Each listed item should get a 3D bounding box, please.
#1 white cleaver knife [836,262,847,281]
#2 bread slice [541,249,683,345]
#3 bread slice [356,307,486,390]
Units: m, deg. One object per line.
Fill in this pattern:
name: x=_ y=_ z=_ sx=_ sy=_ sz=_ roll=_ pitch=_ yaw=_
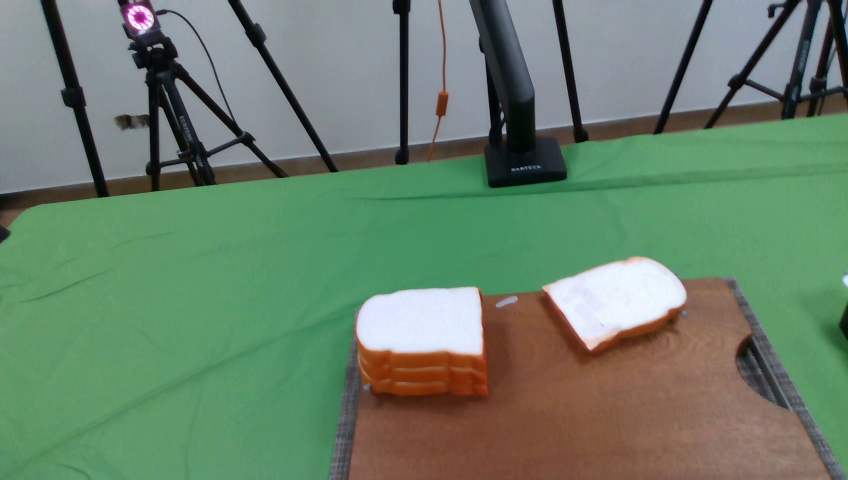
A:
white cleaver knife: x=0.470 y=0.103 z=0.516 sx=0.066 sy=0.022 sz=0.283 roll=-11 pitch=40 yaw=-2
bread slice: x=0.207 y=0.056 z=0.649 sx=0.131 sy=0.019 sz=0.103 roll=-20 pitch=36 yaw=-6
bread slice: x=-0.003 y=0.109 z=0.631 sx=0.134 sy=0.018 sz=0.106 roll=0 pitch=36 yaw=5
